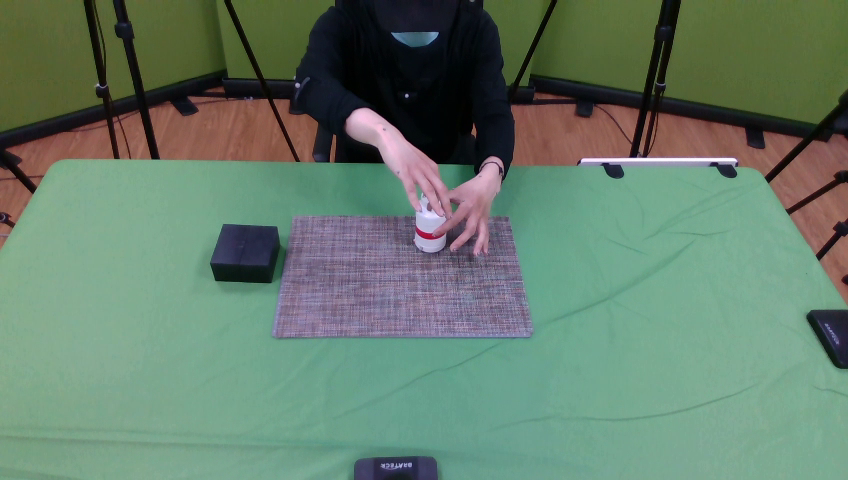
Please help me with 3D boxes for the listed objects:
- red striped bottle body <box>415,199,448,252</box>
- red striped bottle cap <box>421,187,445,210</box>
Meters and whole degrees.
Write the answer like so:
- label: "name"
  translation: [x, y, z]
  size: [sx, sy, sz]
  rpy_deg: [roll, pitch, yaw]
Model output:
- label: "red striped bottle body"
  translation: [0.014, -0.038, 1.158]
  size: [0.063, 0.120, 0.062]
  rpy_deg: [0, 46, 0]
- label: "red striped bottle cap"
  translation: [0.017, -0.077, 1.118]
  size: [0.044, 0.018, 0.044]
  rpy_deg: [-1, 49, 1]
